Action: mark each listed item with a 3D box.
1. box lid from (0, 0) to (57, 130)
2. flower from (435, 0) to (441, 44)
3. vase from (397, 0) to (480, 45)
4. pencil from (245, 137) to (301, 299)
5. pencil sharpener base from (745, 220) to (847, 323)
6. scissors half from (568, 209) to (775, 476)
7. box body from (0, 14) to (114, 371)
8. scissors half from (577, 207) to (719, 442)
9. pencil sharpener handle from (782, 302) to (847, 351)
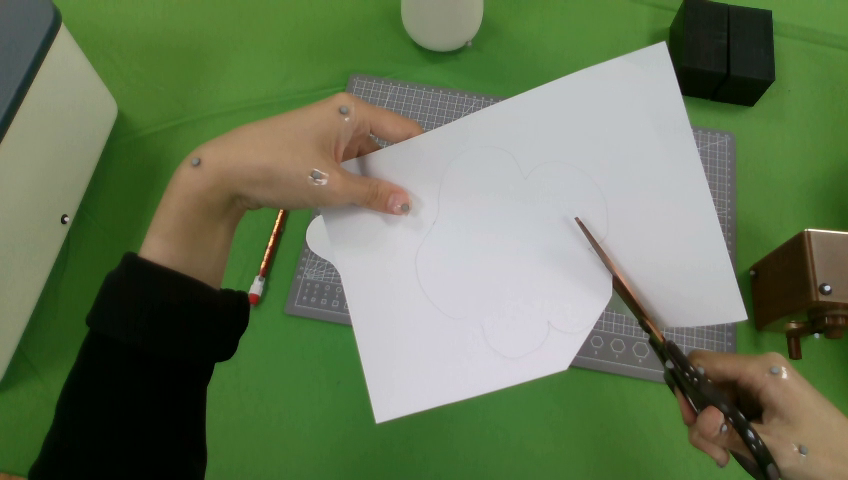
[{"bbox_3d":[-0.493,-0.086,0.503,0.263,0.015,0.369,10,69,3],"label":"box lid"},{"bbox_3d":[0.011,-0.352,0.582,0.044,0.365,0.038,3,51,5],"label":"flower"},{"bbox_3d":[0.016,-0.308,0.655,0.098,0.201,0.097,0,67,1],"label":"vase"},{"bbox_3d":[-0.158,-0.029,0.648,0.012,0.012,0.193,10,68,4],"label":"pencil"},{"bbox_3d":[0.361,0.037,0.574,0.061,0.108,0.076,5,69,2],"label":"pencil sharpener base"},{"bbox_3d":[0.133,0.052,0.334,0.013,0.040,0.174,-34,77,-4],"label":"scissors half"},{"bbox_3d":[-0.493,-0.056,0.573,0.254,0.161,0.362,9,69,3],"label":"box body"},{"bbox_3d":[0.132,0.052,0.357,0.013,0.040,0.176,-34,108,1],"label":"scissors half"},{"bbox_3d":[0.352,0.079,0.544,0.036,0.068,0.030,10,69,-11],"label":"pencil sharpener handle"}]
